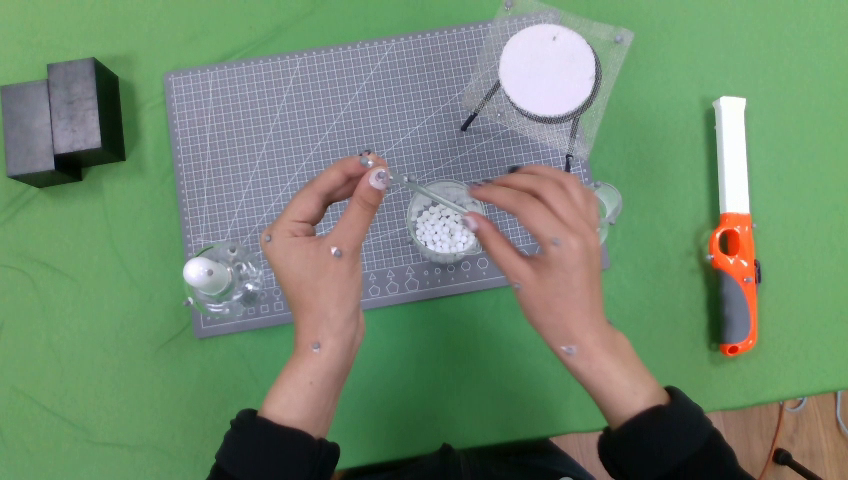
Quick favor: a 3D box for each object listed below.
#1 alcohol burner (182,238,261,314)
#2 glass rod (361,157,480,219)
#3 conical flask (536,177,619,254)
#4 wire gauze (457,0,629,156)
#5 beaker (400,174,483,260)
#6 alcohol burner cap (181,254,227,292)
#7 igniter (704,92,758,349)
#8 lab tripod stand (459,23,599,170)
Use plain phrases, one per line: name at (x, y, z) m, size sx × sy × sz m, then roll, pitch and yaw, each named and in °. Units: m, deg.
alcohol burner at (-0.205, 0.034, 0.596) m, size 0.078 × 0.119 × 0.077 m, roll 0°, pitch 84°, yaw 2°
glass rod at (0.006, -0.037, 0.482) m, size 0.008 × 0.201 × 0.008 m, roll -5°, pitch 79°, yaw 26°
conical flask at (0.156, -0.029, 0.598) m, size 0.075 × 0.122 × 0.075 m, roll 0°, pitch 82°, yaw 0°
wire gauze at (0.106, -0.153, 0.541) m, size 0.125 × 0.011 × 0.121 m, roll 22°, pitch 85°, yaw 4°
beaker at (0.020, -0.017, 0.609) m, size 0.084 × 0.100 × 0.074 m, roll 45°, pitch 85°, yaw 5°
alcohol burner cap at (-0.206, 0.028, 0.561) m, size 0.034 × 0.048 × 0.033 m, roll 0°, pitch 75°, yaw -1°
igniter at (0.326, -0.023, 0.647) m, size 0.057 × 0.025 × 0.275 m, roll 3°, pitch 83°, yaw -10°
lab tripod stand at (0.110, -0.143, 0.607) m, size 0.148 × 0.132 × 0.148 m, roll 0°, pitch 84°, yaw 2°
